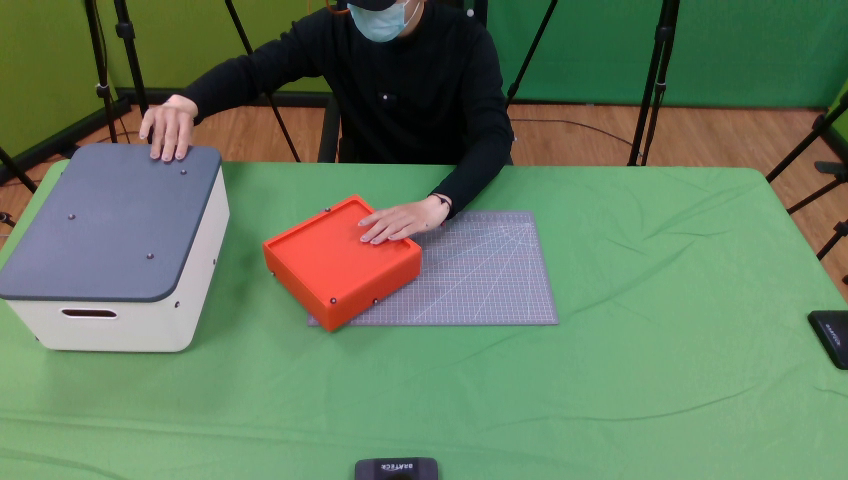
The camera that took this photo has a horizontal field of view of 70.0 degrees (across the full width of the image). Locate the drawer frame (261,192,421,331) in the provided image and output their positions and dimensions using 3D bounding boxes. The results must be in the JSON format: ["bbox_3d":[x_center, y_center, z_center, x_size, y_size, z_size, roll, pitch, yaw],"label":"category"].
[{"bbox_3d":[-0.148,0.032,1.110,0.213,0.083,0.200,-33,57,-29],"label":"drawer frame"}]

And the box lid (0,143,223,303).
[{"bbox_3d":[-0.499,-0.045,1.002,0.263,0.015,0.369,2,46,-3],"label":"box lid"}]

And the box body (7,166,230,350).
[{"bbox_3d":[-0.502,0.008,1.054,0.254,0.161,0.361,1,46,-3],"label":"box body"}]

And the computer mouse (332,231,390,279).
[{"bbox_3d":[-0.120,0.022,1.143,0.063,0.041,0.116,-35,51,-27],"label":"computer mouse"}]

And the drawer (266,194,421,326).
[{"bbox_3d":[-0.146,0.032,1.113,0.212,0.073,0.193,-33,57,-29],"label":"drawer"}]
